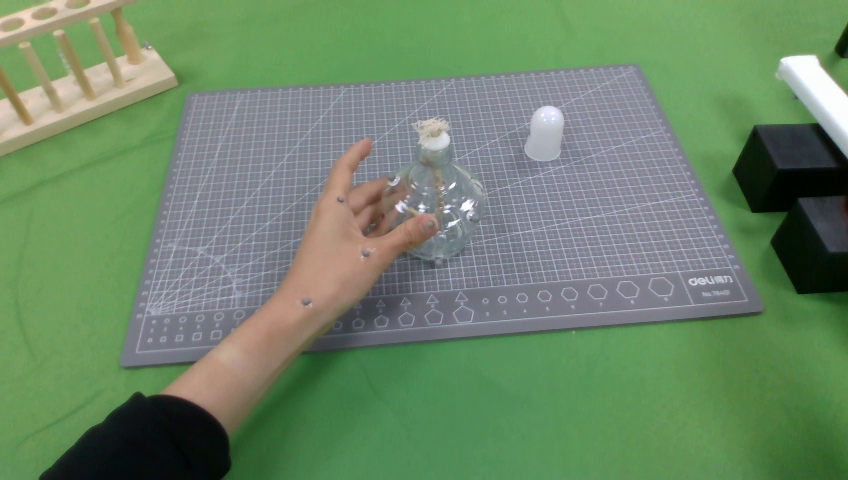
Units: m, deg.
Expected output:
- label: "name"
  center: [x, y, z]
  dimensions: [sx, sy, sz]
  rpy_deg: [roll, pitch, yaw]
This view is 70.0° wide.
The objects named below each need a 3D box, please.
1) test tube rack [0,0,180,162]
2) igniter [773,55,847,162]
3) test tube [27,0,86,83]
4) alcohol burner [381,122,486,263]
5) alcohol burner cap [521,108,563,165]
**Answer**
- label: "test tube rack"
  center: [-0.361, -0.141, 0.547]
  dimensions: [0.242, 0.086, 0.066]
  rpy_deg: [-30, 56, -22]
- label: "igniter"
  center: [0.329, -0.050, 0.436]
  dimensions: [0.057, 0.025, 0.273]
  rpy_deg: [-6, 49, 0]
- label: "test tube"
  center: [-0.339, -0.208, 0.534]
  dimensions: [0.017, 0.152, 0.017]
  rpy_deg: [-4, 42, 4]
- label: "alcohol burner"
  center: [0.007, -0.038, 0.435]
  dimensions: [0.078, 0.120, 0.077]
  rpy_deg: [1, 51, 0]
- label: "alcohol burner cap"
  center: [0.104, -0.092, 0.523]
  dimensions: [0.034, 0.048, 0.033]
  rpy_deg: [1, 50, 0]
